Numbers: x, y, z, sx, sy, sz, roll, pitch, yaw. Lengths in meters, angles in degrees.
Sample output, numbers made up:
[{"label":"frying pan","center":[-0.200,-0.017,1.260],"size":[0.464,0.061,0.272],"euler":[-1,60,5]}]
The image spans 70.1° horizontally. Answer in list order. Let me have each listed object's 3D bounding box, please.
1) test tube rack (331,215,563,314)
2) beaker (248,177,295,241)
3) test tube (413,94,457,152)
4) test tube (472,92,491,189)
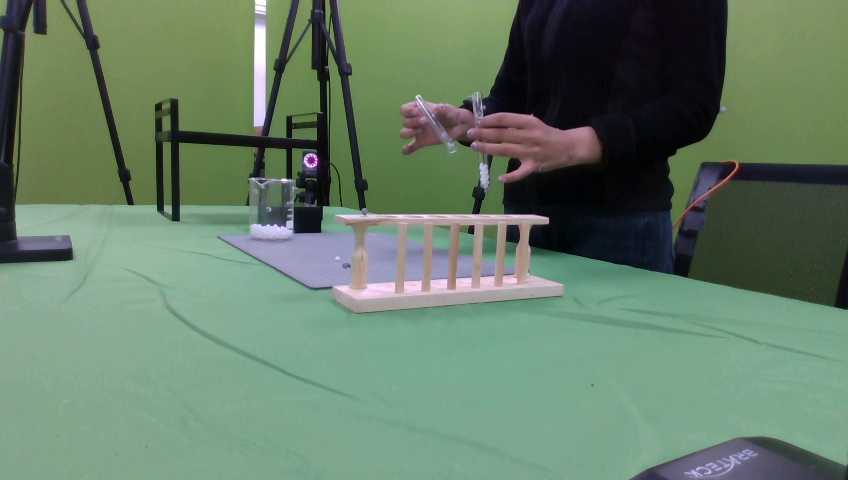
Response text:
[{"label":"test tube rack","center":[0.031,0.019,0.626],"size":[0.243,0.085,0.066],"euler":[-1,8,-28]},{"label":"beaker","center":[-0.252,-0.051,0.992],"size":[0.074,0.100,0.084],"euler":[3,9,6]},{"label":"test tube","center":[0.016,-0.190,0.966],"size":[0.017,0.017,0.150],"euler":[-2,44,-30]},{"label":"test tube","center":[0.085,-0.148,0.896],"size":[0.017,0.150,0.017],"euler":[-4,-12,-1]}]
